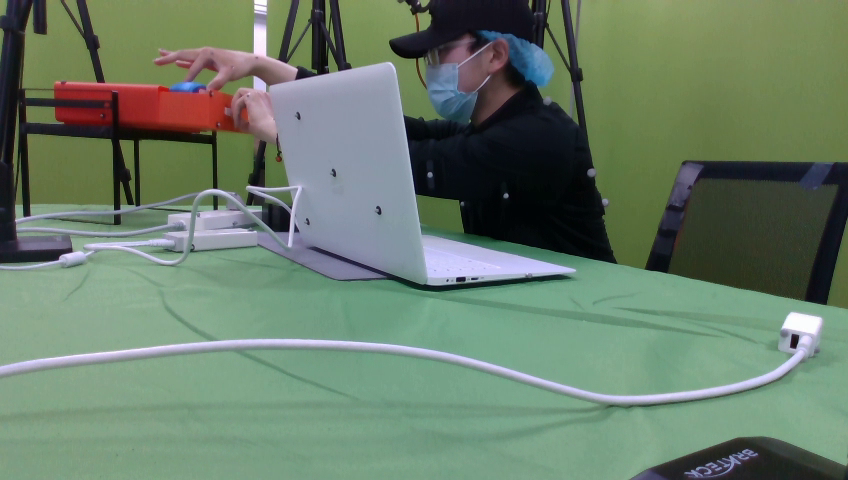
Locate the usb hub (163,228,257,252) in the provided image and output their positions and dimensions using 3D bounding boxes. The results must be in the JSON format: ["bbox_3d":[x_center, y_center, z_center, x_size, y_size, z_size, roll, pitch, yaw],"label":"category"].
[{"bbox_3d":[-0.314,-0.001,0.894,0.049,0.025,0.126,9,10,41],"label":"usb hub"}]

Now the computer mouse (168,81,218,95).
[{"bbox_3d":[-0.433,-0.279,1.176,0.062,0.041,0.118,5,-5,27],"label":"computer mouse"}]

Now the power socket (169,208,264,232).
[{"bbox_3d":[-0.380,-0.038,1.127,0.072,0.032,0.227,4,8,17],"label":"power socket"}]

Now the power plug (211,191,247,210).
[{"bbox_3d":[-0.386,-0.071,1.205,0.072,0.052,0.035,8,11,27],"label":"power plug"}]

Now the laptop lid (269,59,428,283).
[{"bbox_3d":[-0.110,-0.087,0.752,0.013,0.241,0.355,-18,19,-30],"label":"laptop lid"}]

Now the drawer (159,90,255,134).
[{"bbox_3d":[-0.474,-0.254,1.207,0.211,0.073,0.194,3,8,8],"label":"drawer"}]

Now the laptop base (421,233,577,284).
[{"bbox_3d":[0.007,0.021,0.850,0.237,0.023,0.352,1,7,-34],"label":"laptop base"}]

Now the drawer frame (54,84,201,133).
[{"bbox_3d":[-0.575,-0.263,1.218,0.213,0.082,0.202,3,8,6],"label":"drawer frame"}]

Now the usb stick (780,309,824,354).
[{"bbox_3d":[0.311,0.072,0.496,0.027,0.021,0.059,7,15,34],"label":"usb stick"}]
